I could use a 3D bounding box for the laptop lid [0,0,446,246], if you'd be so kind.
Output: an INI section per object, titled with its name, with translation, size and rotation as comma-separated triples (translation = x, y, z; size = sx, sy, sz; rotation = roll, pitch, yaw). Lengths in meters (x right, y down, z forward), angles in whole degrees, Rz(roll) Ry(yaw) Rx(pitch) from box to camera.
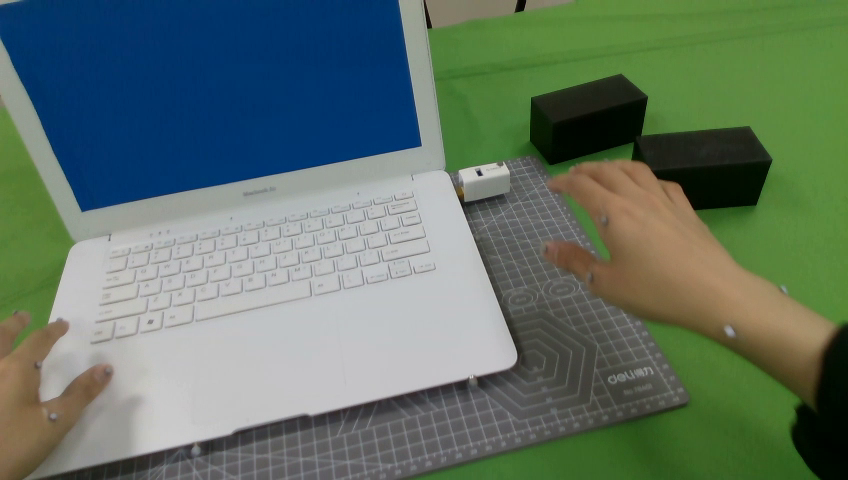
[laptop lid]
translation = -0.166, -0.127, 0.519
size = 0.357, 0.244, 0.013
rotation = -13, 29, -5

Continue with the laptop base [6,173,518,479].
[laptop base]
translation = -0.125, 0.054, 0.493
size = 0.355, 0.023, 0.233
rotation = -12, 47, -5

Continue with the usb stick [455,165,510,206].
[usb stick]
translation = 0.049, -0.049, 0.560
size = 0.059, 0.027, 0.021
rotation = -14, 44, -4
